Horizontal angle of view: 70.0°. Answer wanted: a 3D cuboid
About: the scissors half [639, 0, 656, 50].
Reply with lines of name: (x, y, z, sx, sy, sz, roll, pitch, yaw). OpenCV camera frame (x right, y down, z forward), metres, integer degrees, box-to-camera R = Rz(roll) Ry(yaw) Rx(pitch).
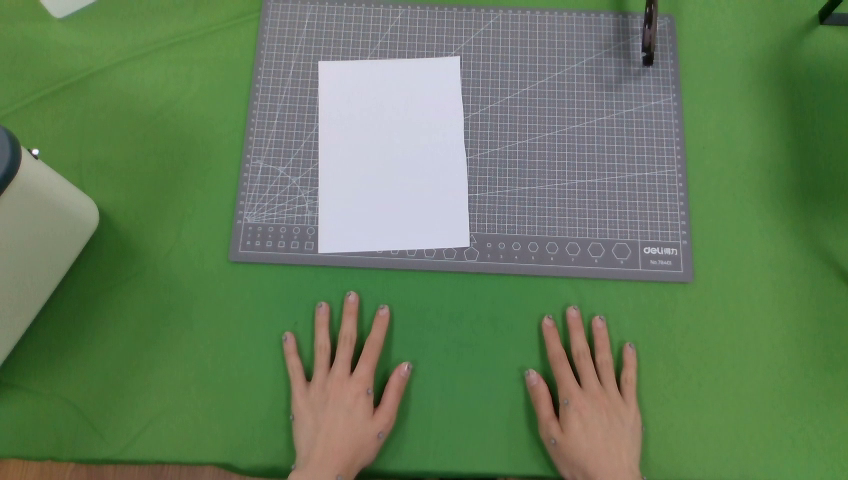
scissors half: (0.231, -0.275, 0.612, 0.013, 0.040, 0.174, 6, 77, 21)

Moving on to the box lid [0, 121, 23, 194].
box lid: (-0.517, -0.049, 0.449, 0.371, 0.015, 0.262, 27, 77, 6)

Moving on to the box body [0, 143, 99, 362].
box body: (-0.515, -0.028, 0.520, 0.363, 0.161, 0.253, 27, 77, 7)

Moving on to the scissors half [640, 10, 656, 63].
scissors half: (0.240, -0.272, 0.630, 0.012, 0.040, 0.175, 6, 95, 26)

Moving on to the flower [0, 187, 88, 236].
flower: (-0.503, -0.008, 0.586, 0.361, 0.038, 0.044, -7, 106, 4)

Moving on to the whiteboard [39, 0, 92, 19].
whiteboard: (-0.373, -0.423, 0.583, 0.217, 0.308, 0.142, -31, 57, -7)
